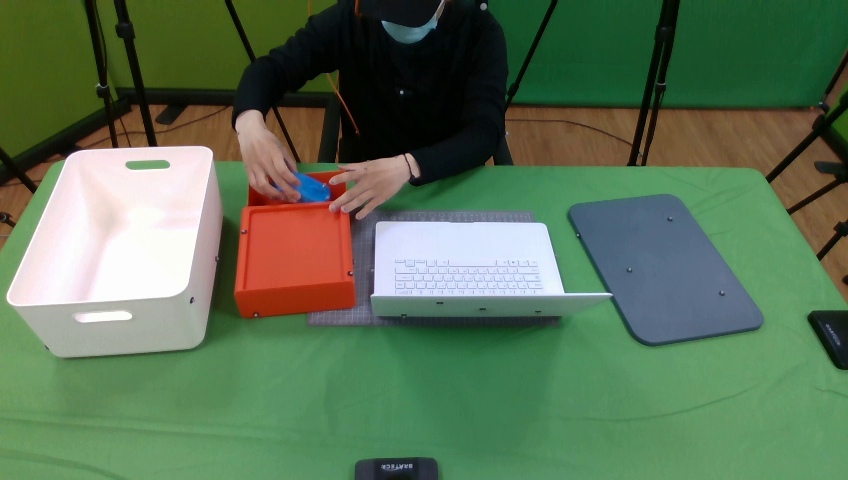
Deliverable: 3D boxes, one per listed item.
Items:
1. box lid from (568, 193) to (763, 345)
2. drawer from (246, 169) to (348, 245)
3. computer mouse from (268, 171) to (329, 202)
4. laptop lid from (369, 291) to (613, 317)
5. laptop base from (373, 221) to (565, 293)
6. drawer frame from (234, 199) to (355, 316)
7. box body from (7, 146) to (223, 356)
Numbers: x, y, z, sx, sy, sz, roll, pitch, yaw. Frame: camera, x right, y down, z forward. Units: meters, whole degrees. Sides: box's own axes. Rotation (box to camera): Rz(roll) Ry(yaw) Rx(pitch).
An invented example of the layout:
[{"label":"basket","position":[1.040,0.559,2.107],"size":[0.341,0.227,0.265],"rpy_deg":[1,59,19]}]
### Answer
[{"label":"box lid","position":[0.464,0.040,1.203],"size":[0.264,0.015,0.369],"rpy_deg":[-7,47,-11]},{"label":"drawer","position":[-0.245,-0.042,1.176],"size":[0.195,0.073,0.210],"rpy_deg":[-3,47,-7]},{"label":"computer mouse","position":[-0.245,-0.100,1.189],"size":[0.117,0.041,0.062],"rpy_deg":[15,41,-7]},{"label":"laptop lid","position":[0.092,0.104,0.965],"size":[0.357,0.242,0.013],"rpy_deg":[0,76,-5]},{"label":"laptop base","position":[0.080,0.049,1.158],"size":[0.355,0.023,0.234],"rpy_deg":[0,43,-4]},{"label":"drawer frame","position":[-0.233,0.026,1.111],"size":[0.202,0.083,0.212],"rpy_deg":[-5,47,-8]},{"label":"box body","position":[-0.499,0.012,1.051],"size":[0.254,0.161,0.361],"rpy_deg":[-3,47,-7]}]
